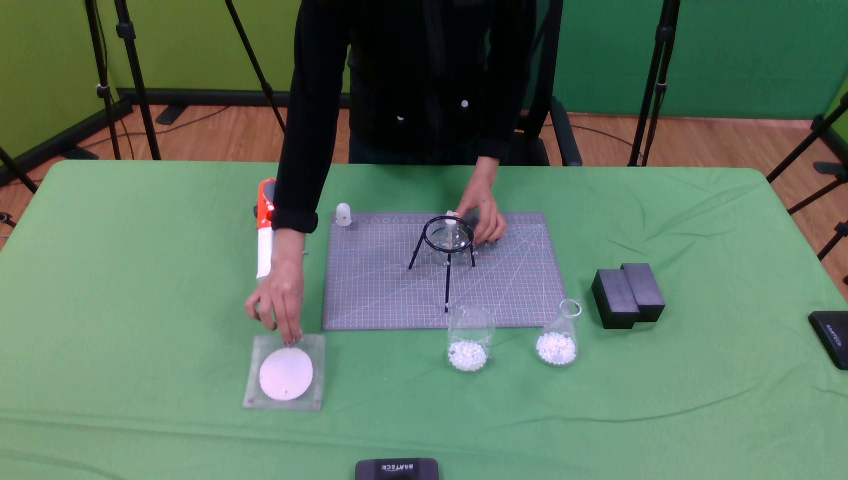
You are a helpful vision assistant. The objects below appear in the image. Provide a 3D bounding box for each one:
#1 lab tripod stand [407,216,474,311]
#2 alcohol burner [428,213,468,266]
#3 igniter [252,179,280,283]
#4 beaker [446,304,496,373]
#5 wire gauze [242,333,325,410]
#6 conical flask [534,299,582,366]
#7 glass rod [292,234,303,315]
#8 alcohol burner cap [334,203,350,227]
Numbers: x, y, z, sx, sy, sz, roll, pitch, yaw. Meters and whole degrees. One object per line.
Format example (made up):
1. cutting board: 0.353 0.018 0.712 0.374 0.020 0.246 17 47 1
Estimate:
1. lab tripod stand: 0.039 0.030 1.092 0.148 0.132 0.147 2 44 -2
2. alcohol burner: 0.047 -0.007 1.143 0.078 0.120 0.077 1 48 -1
3. igniter: -0.312 -0.027 1.197 0.057 0.025 0.274 -12 47 -2
4. beaker: 0.072 0.166 0.992 0.084 0.101 0.073 -21 51 -22
5. wire gauze: -0.222 0.208 0.967 0.125 0.011 0.121 1 65 3
6. conical flask: 0.229 0.149 1.005 0.075 0.122 0.075 2 46 -2
7. glass rod: -0.236 0.059 1.133 0.008 0.008 0.198 -1 46 -4
8. alcohol burner cap: -0.166 -0.053 1.220 0.034 0.048 0.033 2 46 -2
